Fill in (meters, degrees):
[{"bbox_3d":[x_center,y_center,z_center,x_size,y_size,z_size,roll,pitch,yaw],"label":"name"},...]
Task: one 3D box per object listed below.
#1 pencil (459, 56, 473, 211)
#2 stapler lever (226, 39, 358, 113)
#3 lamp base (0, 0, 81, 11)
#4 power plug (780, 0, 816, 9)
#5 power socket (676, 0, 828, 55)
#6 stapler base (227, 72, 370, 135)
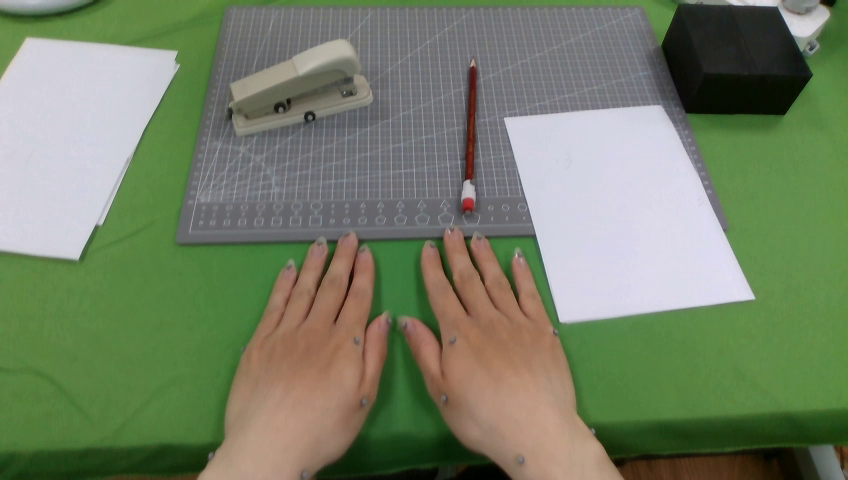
[{"bbox_3d":[0.040,-0.105,0.551,0.012,0.012,0.192,4,56,0],"label":"pencil"},{"bbox_3d":[-0.116,-0.145,0.533,0.118,0.040,0.026,-18,58,-13],"label":"stapler lever"},{"bbox_3d":[-0.413,-0.350,0.592,0.161,0.182,0.177,-29,60,-20],"label":"lamp base"},{"bbox_3d":[0.400,-0.261,0.629,0.072,0.053,0.035,-30,62,-19],"label":"power plug"},{"bbox_3d":[0.327,-0.275,0.663,0.072,0.033,0.225,-39,66,-25],"label":"power socket"},{"bbox_3d":[-0.115,-0.133,0.554,0.131,0.024,0.041,-18,58,-12],"label":"stapler base"}]
